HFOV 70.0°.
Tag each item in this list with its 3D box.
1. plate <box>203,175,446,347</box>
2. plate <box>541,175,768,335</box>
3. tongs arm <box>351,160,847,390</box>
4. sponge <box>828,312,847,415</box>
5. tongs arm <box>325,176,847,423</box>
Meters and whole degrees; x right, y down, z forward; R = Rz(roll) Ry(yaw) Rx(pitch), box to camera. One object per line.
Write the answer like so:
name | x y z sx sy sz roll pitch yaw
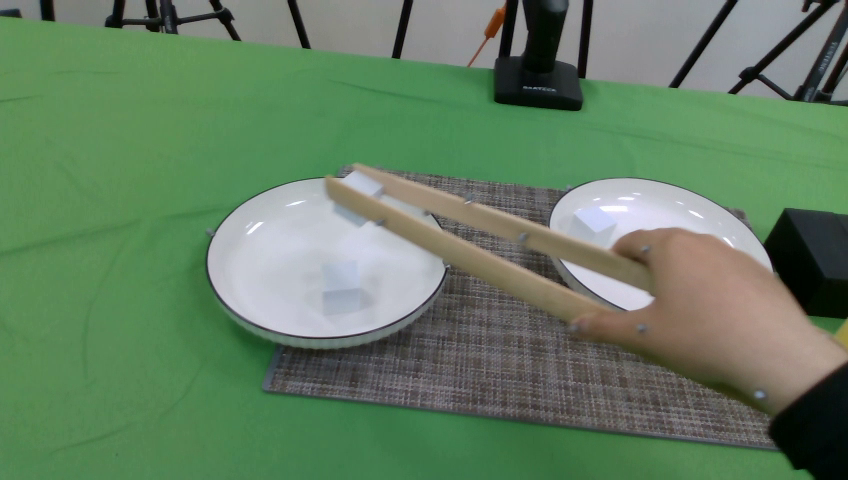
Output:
plate | -0.085 0.017 0.539 0.209 0.038 0.207 4 42 -3
plate | 0.212 0.014 0.579 0.208 0.039 0.205 4 42 -3
tongs arm | 0.085 0.013 0.429 0.382 0.027 0.050 21 43 27
sponge | 0.398 0.150 0.440 0.118 0.061 0.205 4 43 -2
tongs arm | 0.071 0.024 0.415 0.384 0.028 0.028 24 41 30
